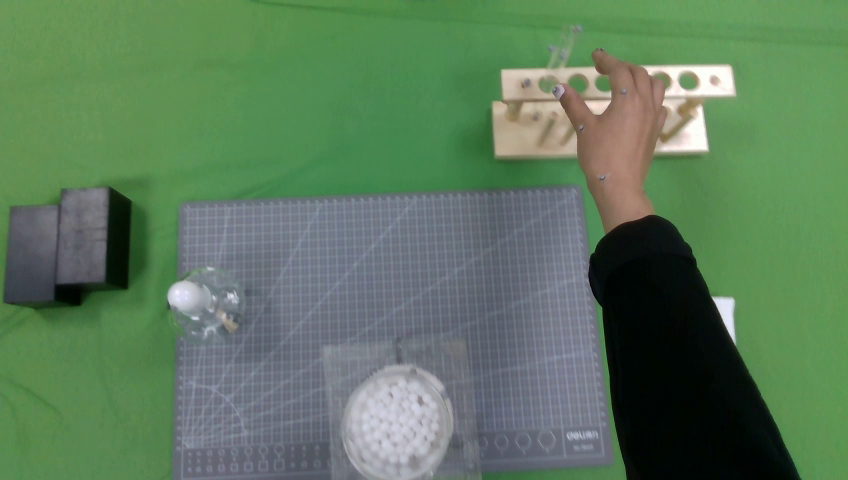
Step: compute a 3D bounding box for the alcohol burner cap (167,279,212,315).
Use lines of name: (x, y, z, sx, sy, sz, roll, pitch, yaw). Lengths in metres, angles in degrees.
alcohol burner cap: (-0.219, 0.052, 0.560, 0.034, 0.048, 0.033, 1, 80, -5)

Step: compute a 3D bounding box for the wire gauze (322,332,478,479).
wire gauze: (-0.022, 0.141, 0.506, 0.125, 0.011, 0.121, -5, 76, 0)

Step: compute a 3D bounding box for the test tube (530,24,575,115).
test tube: (0.128, -0.168, 0.620, 0.017, 0.151, 0.017, 0, 73, -1)

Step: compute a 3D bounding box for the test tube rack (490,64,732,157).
test tube rack: (0.200, -0.140, 0.666, 0.242, 0.085, 0.066, -2, 77, -2)

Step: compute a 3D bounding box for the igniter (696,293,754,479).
igniter: (0.310, 0.193, 0.629, 0.057, 0.025, 0.275, 3, 78, -11)

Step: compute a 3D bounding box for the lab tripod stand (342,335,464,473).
lab tripod stand: (-0.025, 0.158, 0.570, 0.148, 0.132, 0.147, 0, 77, 1)

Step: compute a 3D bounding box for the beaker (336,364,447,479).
beaker: (-0.019, 0.137, 0.458, 0.074, 0.100, 0.083, -26, 78, -6)

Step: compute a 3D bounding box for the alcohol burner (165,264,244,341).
alcohol burner: (-0.221, 0.059, 0.595, 0.078, 0.119, 0.077, 0, 75, -1)
